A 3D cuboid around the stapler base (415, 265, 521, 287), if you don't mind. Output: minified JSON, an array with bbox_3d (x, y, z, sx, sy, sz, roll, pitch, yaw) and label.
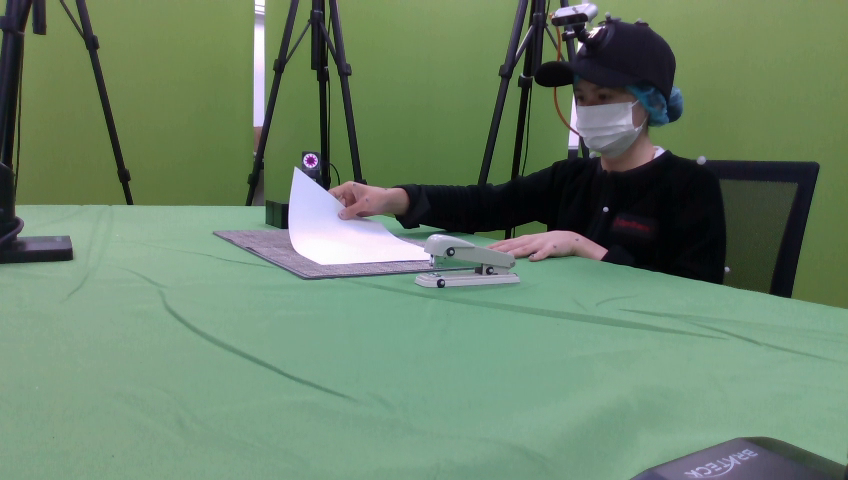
[{"bbox_3d":[0.053,0.039,0.716,0.131,0.024,0.041,1,9,-27],"label":"stapler base"}]

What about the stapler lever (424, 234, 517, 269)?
[{"bbox_3d":[0.056,0.014,0.714,0.119,0.040,0.026,1,9,-27],"label":"stapler lever"}]
